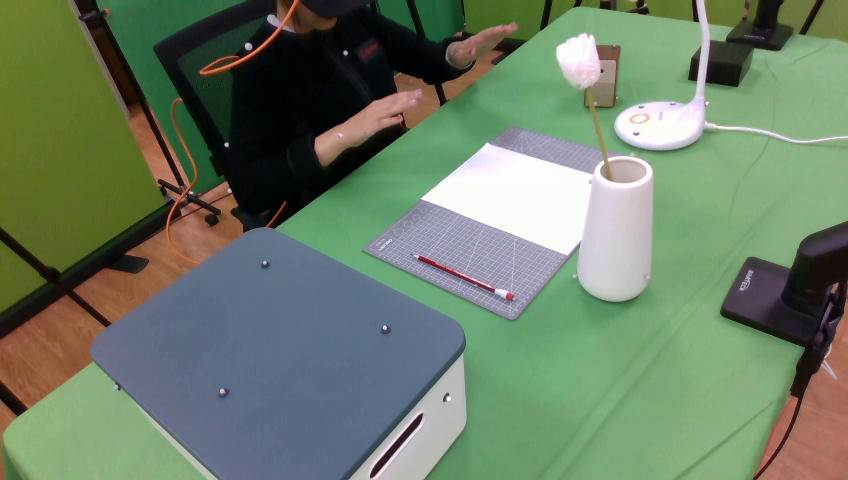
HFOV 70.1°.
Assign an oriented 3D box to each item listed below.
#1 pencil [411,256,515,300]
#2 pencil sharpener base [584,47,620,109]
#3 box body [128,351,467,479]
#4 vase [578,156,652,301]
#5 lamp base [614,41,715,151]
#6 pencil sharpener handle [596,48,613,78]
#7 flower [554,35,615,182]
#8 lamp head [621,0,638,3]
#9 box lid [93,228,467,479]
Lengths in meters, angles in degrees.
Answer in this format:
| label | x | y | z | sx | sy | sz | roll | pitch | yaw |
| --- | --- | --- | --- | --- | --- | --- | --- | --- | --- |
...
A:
| label | x | y | z | sx | sy | sz | roll | pitch | yaw |
| --- | --- | --- | --- | --- | --- | --- | --- | --- | --- |
| pencil | 0.054 | 0.054 | 0.918 | 0.192 | 0.012 | 0.012 | 21 | 48 | 33 |
| pencil sharpener base | 0.367 | -0.336 | 1.248 | 0.061 | 0.107 | 0.076 | 6 | 42 | 19 |
| box body | -0.155 | 0.169 | 0.707 | 0.361 | 0.161 | 0.255 | 23 | 49 | 33 |
| vase | 0.261 | -0.011 | 0.812 | 0.098 | 0.201 | 0.097 | -4 | 40 | 4 |
| lamp base | 0.449 | -0.277 | 1.106 | 0.179 | 0.181 | 0.160 | 1 | 41 | 9 |
| pencil sharpener handle | 0.383 | -0.378 | 1.276 | 0.036 | 0.068 | 0.030 | 2 | 41 | 22 |
| flower | 0.237 | -0.083 | 0.774 | 0.044 | 0.363 | 0.038 | -22 | 26 | 7 |
| lamp head | 0.319 | -0.453 | 0.962 | 0.113 | 0.123 | 0.112 | 20 | 33 | -13 |
| box lid | -0.167 | 0.110 | 0.661 | 0.368 | 0.015 | 0.264 | 23 | 49 | 34 |
